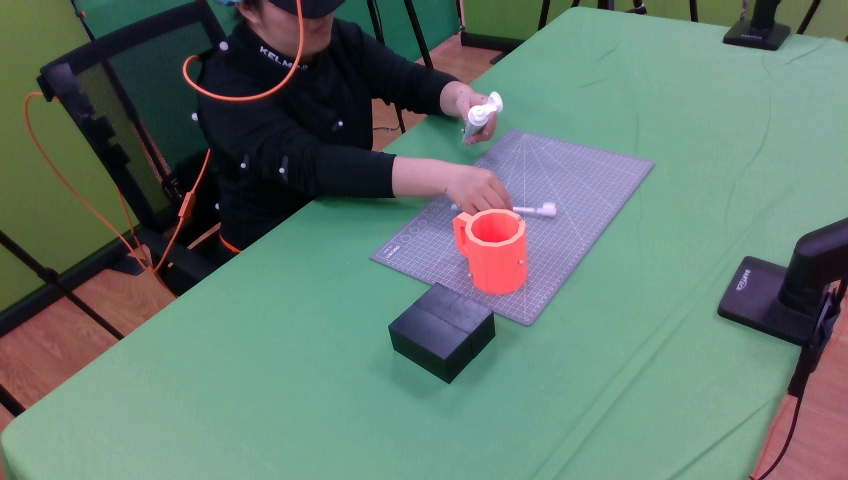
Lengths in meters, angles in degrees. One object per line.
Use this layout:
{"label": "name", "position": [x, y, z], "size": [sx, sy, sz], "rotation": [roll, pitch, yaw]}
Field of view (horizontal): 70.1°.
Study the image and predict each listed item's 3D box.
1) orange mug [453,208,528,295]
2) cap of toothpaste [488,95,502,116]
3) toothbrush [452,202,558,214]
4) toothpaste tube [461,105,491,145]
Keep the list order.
{"label": "orange mug", "position": [0.095, 0.009, 0.894], "size": [0.125, 0.101, 0.084], "rotation": [32, 55, 33]}
{"label": "cap of toothpaste", "position": [0.116, -0.220, 0.990], "size": [0.011, 0.037, 0.037], "rotation": [-18, 41, -15]}
{"label": "toothbrush", "position": [0.135, -0.056, 1.025], "size": [0.181, 0.017, 0.014], "rotation": [4, 41, 19]}
{"label": "toothpaste tube", "position": [0.093, -0.208, 1.077], "size": [0.055, 0.165, 0.034], "rotation": [-41, 89, -5]}
